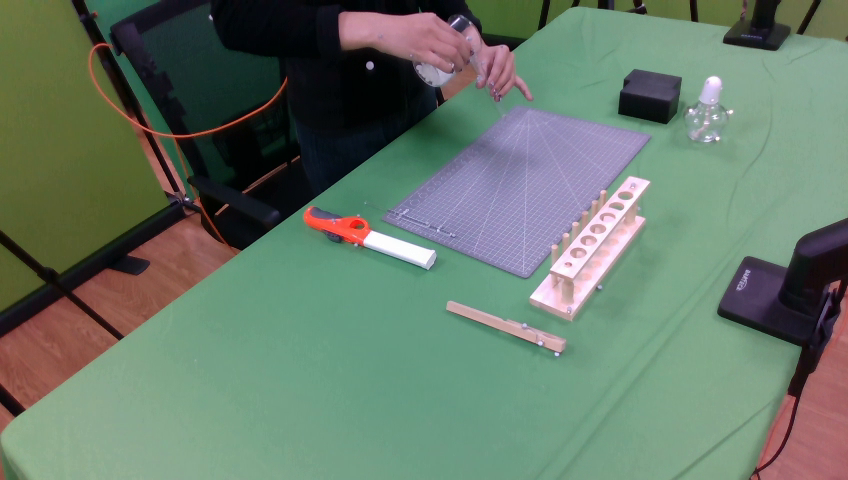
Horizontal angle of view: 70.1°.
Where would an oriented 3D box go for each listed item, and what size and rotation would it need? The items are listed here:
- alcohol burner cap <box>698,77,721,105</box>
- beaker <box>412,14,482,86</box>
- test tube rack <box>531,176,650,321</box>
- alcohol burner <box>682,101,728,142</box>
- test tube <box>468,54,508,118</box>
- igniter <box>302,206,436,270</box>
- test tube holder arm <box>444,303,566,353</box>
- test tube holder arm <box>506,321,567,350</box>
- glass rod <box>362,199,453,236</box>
[{"bbox_3d":[0.509,-0.266,1.072,0.034,0.048,0.033,-4,48,5],"label":"alcohol burner cap"},{"bbox_3d":[0.036,-0.305,0.988,0.073,0.084,0.100,26,65,43],"label":"beaker"},{"bbox_3d":[0.246,0.002,0.884,0.066,0.085,0.243,22,49,32],"label":"test tube rack"},{"bbox_3d":[0.513,-0.239,1.097,0.078,0.119,0.077,-4,40,4],"label":"alcohol burner"},{"bbox_3d":[0.116,-0.272,1.080,0.017,0.151,0.017,-18,49,23],"label":"test tube"},{"bbox_3d":[-0.101,-0.007,1.004,0.274,0.025,0.057,20,58,29],"label":"igniter"},{"bbox_3d":[0.106,0.117,0.823,0.177,0.015,0.013,16,10,27],"label":"test tube holder arm"},{"bbox_3d":[0.148,0.128,0.808,0.087,0.015,0.010,16,11,28],"label":"test tube holder arm"},{"bbox_3d":[-0.032,-0.041,1.041,0.198,0.008,0.008,22,50,31],"label":"glass rod"}]
